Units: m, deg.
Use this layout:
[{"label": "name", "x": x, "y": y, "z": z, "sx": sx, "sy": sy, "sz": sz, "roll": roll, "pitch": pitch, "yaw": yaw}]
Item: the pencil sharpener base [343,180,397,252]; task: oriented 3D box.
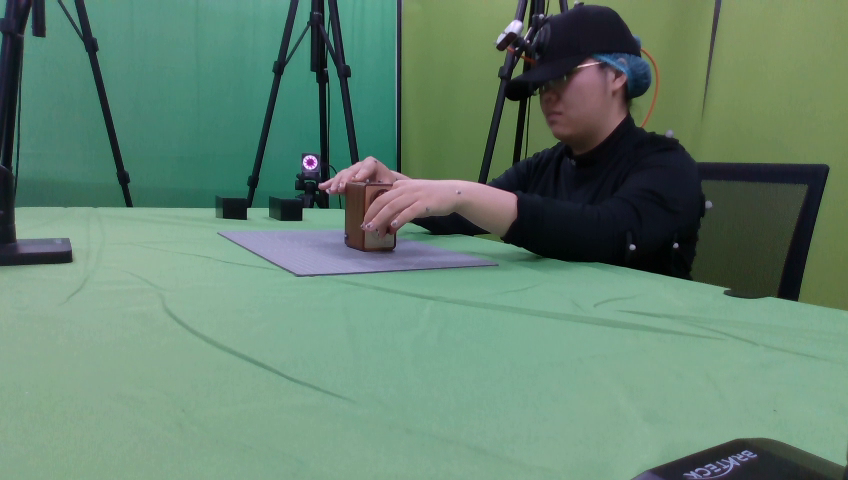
[{"label": "pencil sharpener base", "x": -0.085, "y": -0.038, "z": 0.956, "sx": 0.062, "sy": 0.107, "sz": 0.076, "roll": -2, "pitch": 9, "yaw": -33}]

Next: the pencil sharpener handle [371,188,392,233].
[{"label": "pencil sharpener handle", "x": -0.060, "y": -0.044, "z": 0.911, "sx": 0.036, "sy": 0.067, "sz": 0.030, "roll": 14, "pitch": 0, "yaw": -34}]

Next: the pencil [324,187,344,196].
[{"label": "pencil", "x": -0.127, "y": -0.077, "z": 1.020, "sx": 0.012, "sy": 0.012, "sz": 0.193, "roll": -2, "pitch": 10, "yaw": -33}]
